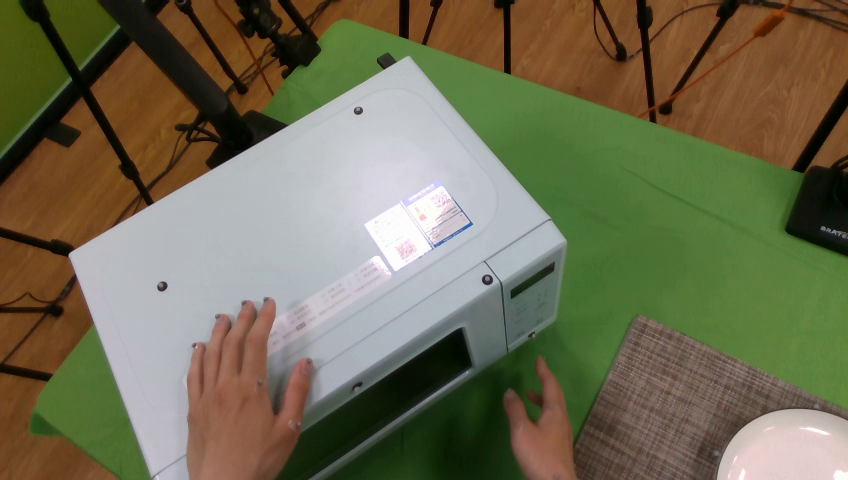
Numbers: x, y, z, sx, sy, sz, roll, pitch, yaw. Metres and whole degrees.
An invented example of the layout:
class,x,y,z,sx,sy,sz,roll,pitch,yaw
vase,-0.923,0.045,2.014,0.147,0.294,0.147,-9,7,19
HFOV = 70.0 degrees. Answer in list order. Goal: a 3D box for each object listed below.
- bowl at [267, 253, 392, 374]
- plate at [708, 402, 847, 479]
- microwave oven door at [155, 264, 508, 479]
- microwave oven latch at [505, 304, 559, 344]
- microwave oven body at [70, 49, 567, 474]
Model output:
class,x,y,z,sx,sy,sz,roll,pitch,yaw
bowl,-0.105,0.100,0.740,0.151,0.077,0.150,-4,60,7
plate,0.414,0.283,0.653,0.207,0.039,0.206,-3,64,7
microwave oven door,-0.067,0.170,0.653,0.356,0.246,0.039,-32,63,-7
microwave oven latch,0.133,0.099,0.770,0.079,0.030,0.030,-31,64,-6
microwave oven body,-0.108,0.044,0.725,0.442,0.262,0.323,-33,64,-7
